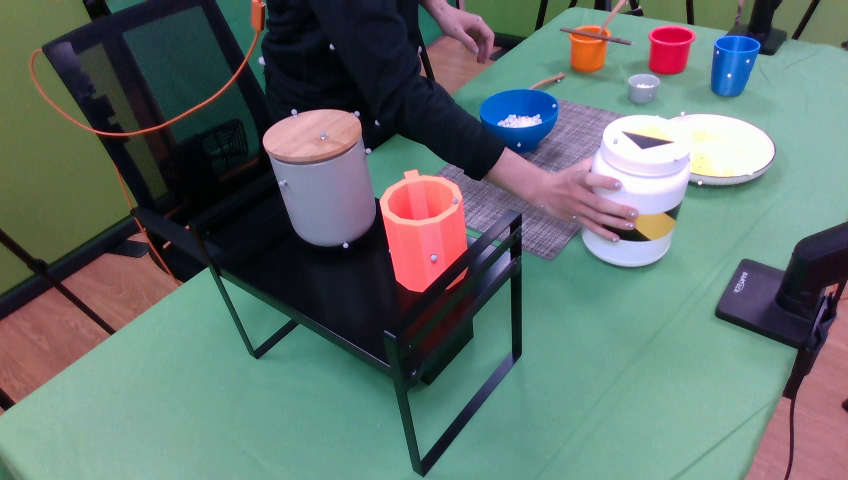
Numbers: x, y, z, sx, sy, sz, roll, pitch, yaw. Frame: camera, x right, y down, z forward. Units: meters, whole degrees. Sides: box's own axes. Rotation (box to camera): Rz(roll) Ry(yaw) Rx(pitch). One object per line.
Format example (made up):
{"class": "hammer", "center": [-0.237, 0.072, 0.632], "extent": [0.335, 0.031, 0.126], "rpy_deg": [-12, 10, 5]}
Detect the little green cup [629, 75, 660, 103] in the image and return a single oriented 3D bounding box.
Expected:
{"class": "little green cup", "center": [0.457, -0.314, 1.260], "extent": [0.061, 0.039, 0.061], "rpy_deg": [-4, 40, 4]}

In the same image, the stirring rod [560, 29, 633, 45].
{"class": "stirring rod", "center": [0.381, -0.452, 1.345], "extent": [0.174, 0.006, 0.014], "rpy_deg": [25, 49, 33]}

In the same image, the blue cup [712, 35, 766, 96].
{"class": "blue cup", "center": [0.627, -0.350, 1.227], "extent": [0.092, 0.100, 0.092], "rpy_deg": [-4, 39, 4]}

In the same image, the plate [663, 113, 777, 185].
{"class": "plate", "center": [0.506, -0.158, 1.073], "extent": [0.209, 0.038, 0.208], "rpy_deg": [-5, 40, 4]}

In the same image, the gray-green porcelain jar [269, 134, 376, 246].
{"class": "gray-green porcelain jar", "center": [-0.115, -0.064, 0.715], "extent": [0.106, 0.127, 0.105], "rpy_deg": [-4, 40, 4]}

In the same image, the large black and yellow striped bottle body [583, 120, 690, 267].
{"class": "large black and yellow striped bottle body", "center": [0.305, -0.067, 0.874], "extent": [0.131, 0.185, 0.130], "rpy_deg": [-2, 43, 3]}

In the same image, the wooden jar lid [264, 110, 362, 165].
{"class": "wooden jar lid", "center": [-0.122, -0.112, 0.673], "extent": [0.108, 0.021, 0.108], "rpy_deg": [-4, 37, 4]}

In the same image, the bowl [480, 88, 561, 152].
{"class": "bowl", "center": [0.185, -0.222, 1.160], "extent": [0.151, 0.077, 0.150], "rpy_deg": [-4, 40, 4]}

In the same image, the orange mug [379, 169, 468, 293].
{"class": "orange mug", "center": [-0.002, -0.019, 0.665], "extent": [0.083, 0.101, 0.125], "rpy_deg": [-12, 45, -4]}

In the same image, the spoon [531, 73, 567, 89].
{"class": "spoon", "center": [0.250, -0.337, 1.332], "extent": [0.194, 0.022, 0.041], "rpy_deg": [-32, 32, -25]}

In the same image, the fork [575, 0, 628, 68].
{"class": "fork", "center": [0.413, -0.481, 1.377], "extent": [0.207, 0.019, 0.028], "rpy_deg": [-57, 43, 12]}

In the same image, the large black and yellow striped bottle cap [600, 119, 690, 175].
{"class": "large black and yellow striped bottle cap", "center": [0.298, -0.128, 0.817], "extent": [0.115, 0.019, 0.114], "rpy_deg": [-1, 42, 2]}
